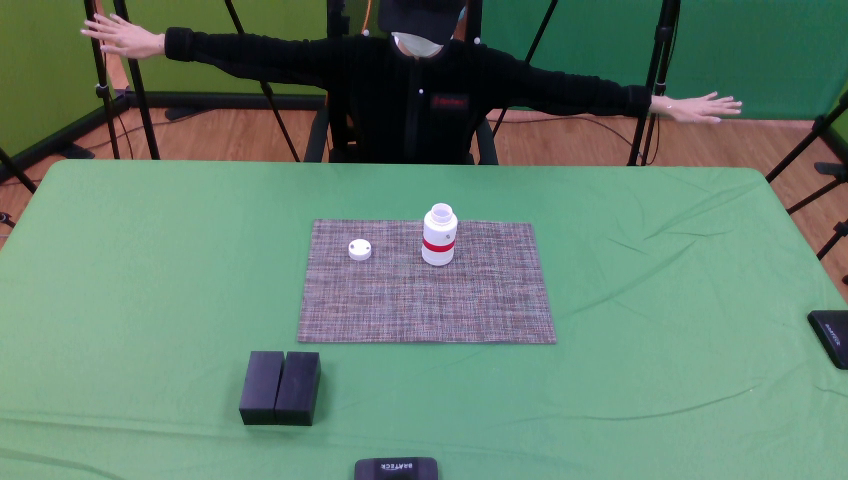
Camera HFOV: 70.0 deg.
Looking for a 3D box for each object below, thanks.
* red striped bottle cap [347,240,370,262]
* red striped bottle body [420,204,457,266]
[{"bbox_3d":[-0.127,0.020,1.169,0.044,0.018,0.044,2,49,-3],"label":"red striped bottle cap"},{"bbox_3d":[0.027,-0.011,1.138,0.063,0.120,0.062,3,45,-3],"label":"red striped bottle body"}]
